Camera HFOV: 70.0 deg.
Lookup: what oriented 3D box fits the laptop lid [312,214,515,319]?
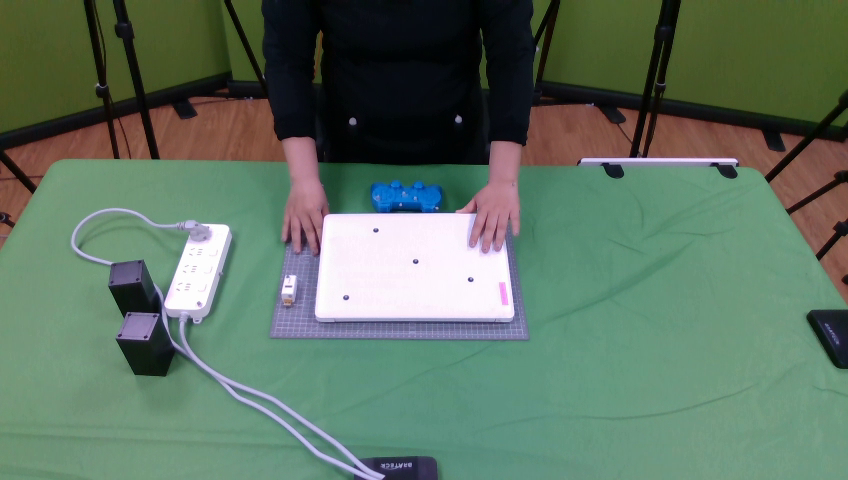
[{"bbox_3d":[-0.018,0.043,1.115,0.357,0.013,0.240,2,53,-3],"label":"laptop lid"}]

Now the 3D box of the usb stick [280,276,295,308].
[{"bbox_3d":[-0.244,0.093,1.080,0.021,0.027,0.059,4,47,-5],"label":"usb stick"}]

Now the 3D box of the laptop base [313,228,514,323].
[{"bbox_3d":[-0.020,0.063,1.135,0.355,0.023,0.234,1,42,-4],"label":"laptop base"}]

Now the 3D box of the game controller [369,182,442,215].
[{"bbox_3d":[-0.039,-0.092,1.268,0.155,0.052,0.096,2,50,-2],"label":"game controller"}]

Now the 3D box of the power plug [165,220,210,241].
[{"bbox_3d":[-0.440,-0.015,1.143,0.072,0.053,0.035,7,46,9],"label":"power plug"}]

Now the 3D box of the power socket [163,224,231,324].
[{"bbox_3d":[-0.411,0.052,1.107,0.072,0.033,0.225,3,46,-3],"label":"power socket"}]
